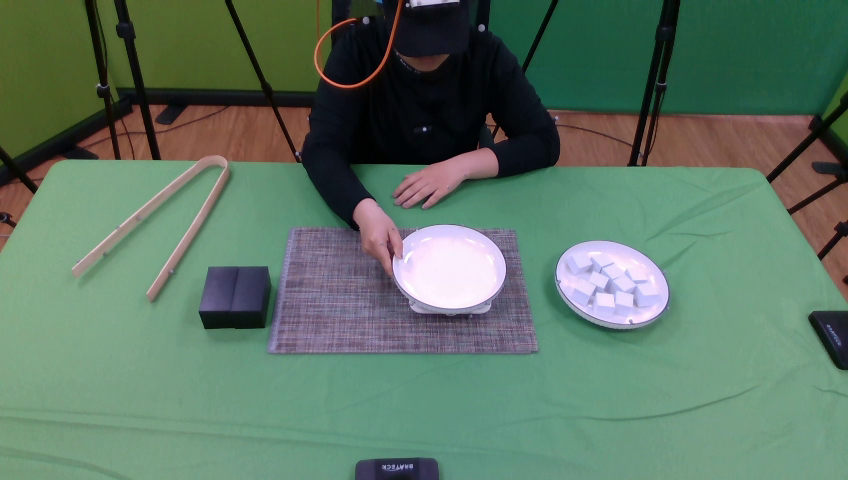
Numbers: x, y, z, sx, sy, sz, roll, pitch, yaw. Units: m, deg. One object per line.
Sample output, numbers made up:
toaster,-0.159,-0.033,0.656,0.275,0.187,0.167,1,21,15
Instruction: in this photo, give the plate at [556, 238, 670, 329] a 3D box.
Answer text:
plate,0.347,0.083,1.130,0.209,0.038,0.208,2,47,-2

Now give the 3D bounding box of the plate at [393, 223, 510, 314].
plate,0.048,0.053,1.092,0.208,0.039,0.206,1,46,-1

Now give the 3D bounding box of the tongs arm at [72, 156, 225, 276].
tongs arm,-0.531,-0.057,1.204,0.050,0.026,0.383,19,47,13

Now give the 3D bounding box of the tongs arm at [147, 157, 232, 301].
tongs arm,-0.453,-0.035,1.193,0.028,0.028,0.385,6,46,6

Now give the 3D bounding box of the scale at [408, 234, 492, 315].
scale,0.045,0.055,1.135,0.149,0.032,0.199,1,46,-3
